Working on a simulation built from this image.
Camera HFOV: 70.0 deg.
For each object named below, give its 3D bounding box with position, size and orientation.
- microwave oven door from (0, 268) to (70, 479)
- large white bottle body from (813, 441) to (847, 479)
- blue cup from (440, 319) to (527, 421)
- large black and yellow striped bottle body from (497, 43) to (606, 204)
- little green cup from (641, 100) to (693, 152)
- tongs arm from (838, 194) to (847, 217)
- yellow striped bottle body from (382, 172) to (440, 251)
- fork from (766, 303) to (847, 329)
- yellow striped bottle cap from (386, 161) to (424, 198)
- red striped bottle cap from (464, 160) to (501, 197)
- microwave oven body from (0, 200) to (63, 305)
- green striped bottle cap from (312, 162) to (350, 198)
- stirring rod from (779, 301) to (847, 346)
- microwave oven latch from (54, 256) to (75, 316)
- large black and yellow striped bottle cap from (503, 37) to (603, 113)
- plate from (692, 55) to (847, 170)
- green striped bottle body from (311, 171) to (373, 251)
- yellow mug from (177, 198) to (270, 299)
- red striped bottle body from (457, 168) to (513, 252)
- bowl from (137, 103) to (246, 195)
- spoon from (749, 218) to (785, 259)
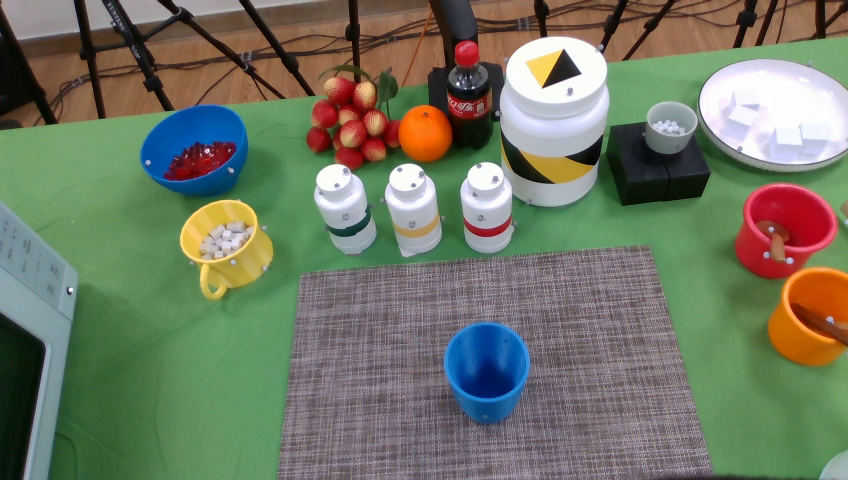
[{"bbox_3d":[-0.444,0.179,0.573,0.039,0.246,0.352,-13,55,-1],"label":"microwave oven door"},{"bbox_3d":[0.425,0.207,0.497,0.130,0.186,0.129,-3,55,5],"label":"large white bottle body"},{"bbox_3d":[0.063,0.144,0.634,0.092,0.101,0.092,-2,55,4],"label":"blue cup"},{"bbox_3d":[0.159,-0.148,0.774,0.130,0.186,0.129,-3,56,5],"label":"large black and yellow striped bottle body"},{"bbox_3d":[0.310,-0.145,0.780,0.061,0.039,0.061,-3,54,4],"label":"little green cup"},{"bbox_3d":[0.587,0.094,0.644,0.051,0.027,0.380,-15,56,-5],"label":"tongs arm"},{"bbox_3d":[-0.017,-0.044,0.765,0.063,0.121,0.062,-4,55,6],"label":"yellow striped bottle body"},{"bbox_3d":[0.438,0.087,0.599,0.028,0.019,0.206,-30,13,-19],"label":"fork"},{"bbox_3d":[-0.023,-0.072,0.722,0.044,0.019,0.044,-3,57,5],"label":"yellow striped bottle cap"},{"bbox_3d":[0.068,-0.073,0.709,0.044,0.018,0.044,-1,54,2],"label":"red striped bottle cap"},{"bbox_3d":[-0.594,0.181,0.598,0.326,0.262,0.437,-12,56,-2],"label":"microwave oven body"},{"bbox_3d":[-0.113,-0.073,0.733,0.044,0.020,0.044,-2,55,4],"label":"green striped bottle cap"},{"bbox_3d":[0.409,0.091,0.609,0.014,0.006,0.175,-3,12,3],"label":"stirring rod"},{"bbox_3d":[-0.473,0.062,0.781,0.030,0.030,0.078,-12,56,-2],"label":"microwave oven latch"},{"bbox_3d":[0.149,-0.194,0.704,0.115,0.019,0.114,-4,55,6],"label":"large black and yellow striped bottle cap"},{"bbox_3d":[0.478,-0.174,0.839,0.209,0.038,0.207,-3,56,5],"label":"plate"},{"bbox_3d":[-0.106,-0.043,0.776,0.063,0.120,0.062,-3,56,5],"label":"green striped bottle body"},{"bbox_3d":[-0.265,0.016,0.789,0.100,0.064,0.130,4,57,9],"label":"yellow mug"},{"bbox_3d":[0.076,-0.042,0.752,0.063,0.121,0.062,-6,53,8],"label":"red striped bottle body"},{"bbox_3d":[-0.324,-0.118,0.881,0.151,0.077,0.150,-3,56,5],"label":"bowl"},{"bbox_3d":[0.383,-0.004,0.671,0.041,0.194,0.022,24,107,22],"label":"spoon"}]
